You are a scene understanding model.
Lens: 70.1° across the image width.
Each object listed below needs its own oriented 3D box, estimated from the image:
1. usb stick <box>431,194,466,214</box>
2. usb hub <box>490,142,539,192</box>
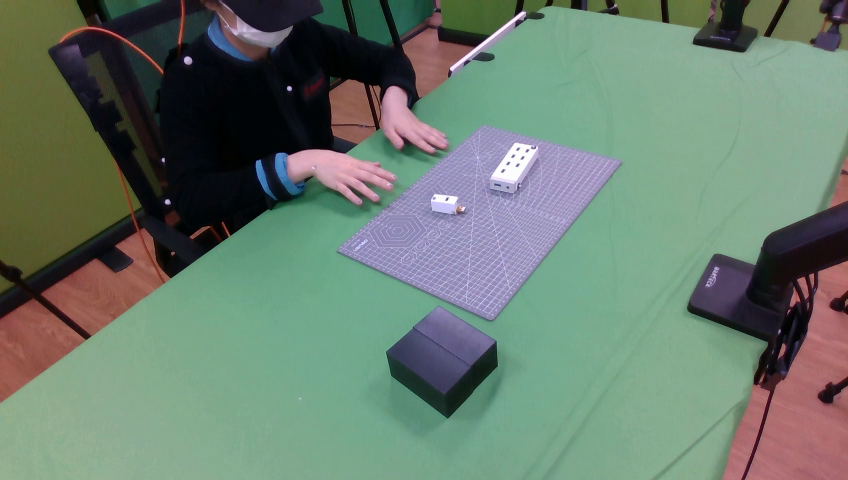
[{"bbox_3d":[0.043,-0.060,1.025,0.059,0.027,0.021,12,43,17],"label":"usb stick"},{"bbox_3d":[0.165,-0.132,1.091,0.049,0.025,0.125,15,46,24],"label":"usb hub"}]
